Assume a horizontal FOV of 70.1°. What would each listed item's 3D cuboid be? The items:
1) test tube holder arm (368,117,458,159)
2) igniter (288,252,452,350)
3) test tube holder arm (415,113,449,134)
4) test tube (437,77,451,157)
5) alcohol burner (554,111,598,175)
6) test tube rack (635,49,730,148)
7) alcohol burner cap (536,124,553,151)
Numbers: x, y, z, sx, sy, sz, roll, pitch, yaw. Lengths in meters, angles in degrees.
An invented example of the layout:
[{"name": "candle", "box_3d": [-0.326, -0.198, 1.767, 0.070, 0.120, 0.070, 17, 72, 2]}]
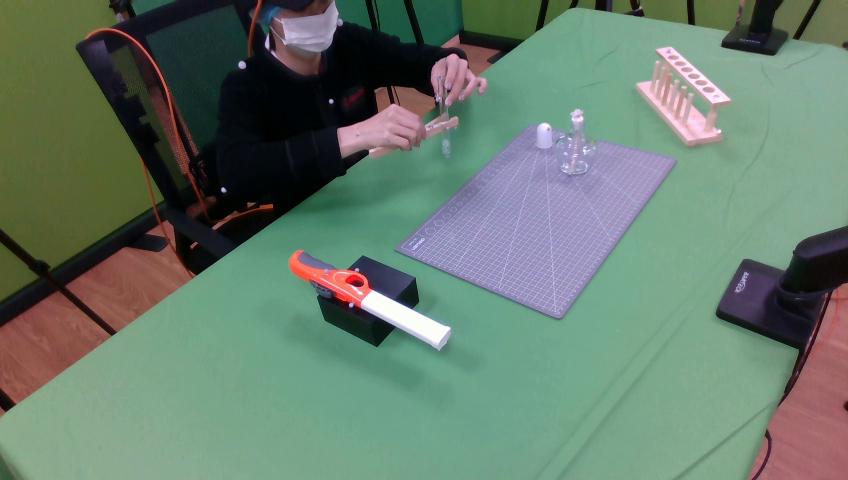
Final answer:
[{"name": "test tube holder arm", "box_3d": [-0.016, -0.175, 1.028, 0.179, 0.015, 0.013, -27, 41, -24]}, {"name": "igniter", "box_3d": [-0.084, 0.077, 0.821, 0.274, 0.025, 0.057, 23, 48, 27]}, {"name": "test tube holder arm", "box_3d": [0.014, -0.197, 1.052, 0.010, 0.015, 0.088, 23, 46, 31]}, {"name": "test tube", "box_3d": [0.035, -0.211, 1.053, 0.017, 0.151, 0.017, -4, 38, 3]}, {"name": "alcohol burner", "box_3d": [0.270, -0.175, 1.066, 0.078, 0.119, 0.077, -4, 42, 4]}, {"name": "test tube rack", "box_3d": [0.497, -0.283, 1.184, 0.067, 0.085, 0.240, -10, 40, -2]}, {"name": "alcohol burner cap", "box_3d": [0.232, -0.199, 1.158, 0.034, 0.048, 0.033, -5, 41, 4]}]
